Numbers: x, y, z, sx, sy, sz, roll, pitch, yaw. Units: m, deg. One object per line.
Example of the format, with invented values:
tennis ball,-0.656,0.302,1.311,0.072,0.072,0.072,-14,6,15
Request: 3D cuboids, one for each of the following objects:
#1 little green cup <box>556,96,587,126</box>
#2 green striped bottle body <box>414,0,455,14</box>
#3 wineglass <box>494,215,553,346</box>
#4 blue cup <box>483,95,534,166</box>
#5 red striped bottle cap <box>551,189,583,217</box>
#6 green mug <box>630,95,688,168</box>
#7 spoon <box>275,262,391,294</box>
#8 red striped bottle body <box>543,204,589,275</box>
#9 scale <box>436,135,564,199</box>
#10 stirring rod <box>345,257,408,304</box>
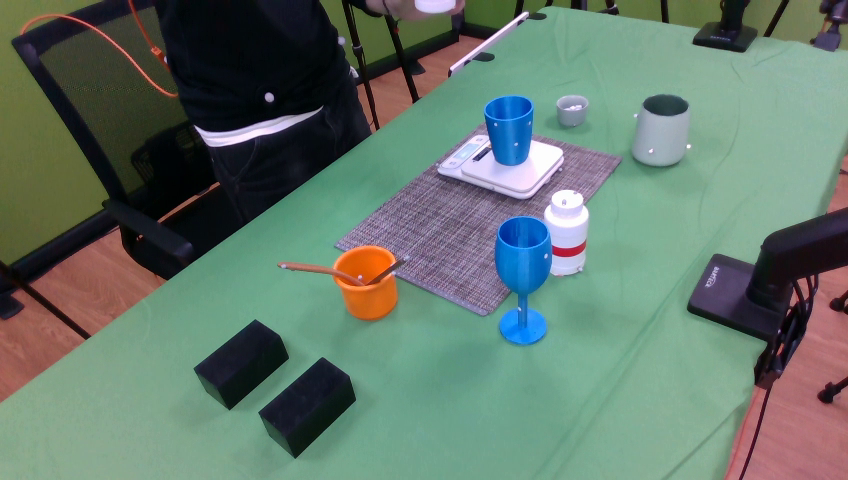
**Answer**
little green cup,0.295,-0.258,1.215,0.061,0.039,0.061,-5,41,5
green striped bottle body,0.012,-0.399,0.880,0.063,0.120,0.063,-2,42,2
wineglass,0.126,0.055,0.770,0.074,0.173,0.073,-4,40,4
blue cup,0.150,-0.186,1.051,0.092,0.101,0.092,-6,41,6
red striped bottle cap,0.200,-0.052,0.843,0.044,0.018,0.044,-2,42,2
green mug,0.421,-0.201,1.081,0.092,0.105,0.125,6,42,15
spoon,-0.120,0.050,0.830,0.041,0.195,0.021,31,97,45
red striped bottle body,0.206,-0.011,0.877,0.063,0.120,0.062,-4,41,4
scale,0.137,-0.142,1.101,0.199,0.032,0.149,22,48,30
stirring rod,-0.067,0.057,0.815,0.014,0.175,0.006,-24,82,-38
